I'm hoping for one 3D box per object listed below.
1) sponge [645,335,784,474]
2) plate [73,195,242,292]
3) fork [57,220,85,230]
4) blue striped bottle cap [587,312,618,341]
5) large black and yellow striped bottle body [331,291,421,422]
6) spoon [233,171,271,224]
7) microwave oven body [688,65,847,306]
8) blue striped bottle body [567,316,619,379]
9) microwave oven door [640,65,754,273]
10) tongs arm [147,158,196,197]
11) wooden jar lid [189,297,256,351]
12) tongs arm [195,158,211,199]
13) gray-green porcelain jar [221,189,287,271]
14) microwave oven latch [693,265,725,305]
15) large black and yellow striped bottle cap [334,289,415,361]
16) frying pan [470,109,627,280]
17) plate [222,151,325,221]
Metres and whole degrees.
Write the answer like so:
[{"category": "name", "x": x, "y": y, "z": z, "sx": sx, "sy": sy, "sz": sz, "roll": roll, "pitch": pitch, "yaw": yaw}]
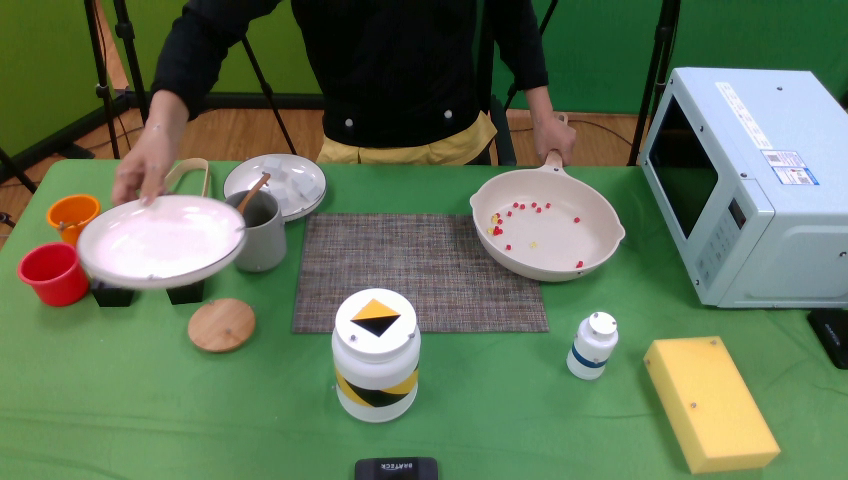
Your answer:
[{"category": "sponge", "x": 0.449, "y": 0.253, "z": 0.956, "sx": 0.118, "sy": 0.061, "sz": 0.205, "roll": -4, "pitch": 46, "yaw": -7}, {"category": "plate", "x": -0.351, "y": 0.006, "z": 0.813, "sx": 0.209, "sy": 0.038, "sz": 0.208, "roll": 5, "pitch": 34, "yaw": -3}, {"category": "fork", "x": -0.624, "y": -0.027, "z": 1.086, "sx": 0.028, "sy": 0.207, "sz": 0.018, "roll": -2, "pitch": 91, "yaw": -17}, {"category": "blue striped bottle cap", "x": 0.279, "y": 0.134, "z": 0.946, "sx": 0.044, "sy": 0.021, "sz": 0.044, "roll": 2, "pitch": 45, "yaw": -2}, {"category": "large black and yellow striped bottle body", "x": -0.071, "y": 0.175, "z": 0.911, "sx": 0.131, "sy": 0.185, "sz": 0.130, "roll": 2, "pitch": 46, "yaw": -2}, {"category": "spoon", "x": -0.312, "y": -0.070, "z": 1.070, "sx": 0.041, "sy": 0.022, "sz": 0.193, "roll": 11, "pitch": 43, "yaw": 9}, {"category": "microwave oven body", "x": 0.669, "y": -0.111, "z": 1.176, "sx": 0.326, "sy": 0.261, "sz": 0.439, "roll": 0, "pitch": 46, "yaw": -3}, {"category": "blue striped bottle body", "x": 0.276, "y": 0.168, "z": 0.984, "sx": 0.063, "sy": 0.121, "sz": 0.062, "roll": 2, "pitch": 46, "yaw": -2}, {"category": "microwave oven door", "x": 0.522, "y": -0.147, "z": 1.193, "sx": 0.039, "sy": 0.245, "sz": 0.353, "roll": 0, "pitch": 47, "yaw": -3}, {"category": "tongs arm", "x": -0.531, "y": -0.057, "z": 1.163, "sx": 0.028, "sy": 0.028, "sz": 0.385, "roll": 1, "pitch": 35, "yaw": 7}, {"category": "wooden jar lid", "x": -0.342, "y": 0.145, "z": 1.033, "sx": 0.108, "sy": 0.021, "sz": 0.107, "roll": 3, "pitch": 45, "yaw": -2}, {"category": "tongs arm", "x": -0.447, "y": -0.057, "z": 1.168, "sx": 0.051, "sy": 0.026, "sz": 0.382, "roll": -5, "pitch": 37, "yaw": -6}, {"category": "gray-green porcelain jar", "x": -0.310, "y": -0.014, "z": 1.114, "sx": 0.106, "sy": 0.127, "sz": 0.105, "roll": 2, "pitch": 46, "yaw": -2}, {"category": "microwave oven latch", "x": 0.523, "y": 0.081, "z": 1.115, "sx": 0.030, "sy": 0.029, "sz": 0.078, "roll": 2, "pitch": 46, "yaw": -1}, {"category": "large black and yellow striped bottle cap", "x": -0.069, "y": 0.117, "z": 0.850, "sx": 0.115, "sy": 0.019, "sz": 0.114, "roll": 2, "pitch": 45, "yaw": -2}, {"category": "frying pan", "x": 0.266, "y": -0.110, "z": 1.259, "sx": 0.306, "sy": 0.103, "sz": 0.485, "roll": 14, "pitch": 54, "yaw": 6}, {"category": "plate", "x": -0.310, "y": -0.106, "z": 1.263, "sx": 0.208, "sy": 0.039, "sz": 0.206, "roll": 2, "pitch": 46, "yaw": -2}]
